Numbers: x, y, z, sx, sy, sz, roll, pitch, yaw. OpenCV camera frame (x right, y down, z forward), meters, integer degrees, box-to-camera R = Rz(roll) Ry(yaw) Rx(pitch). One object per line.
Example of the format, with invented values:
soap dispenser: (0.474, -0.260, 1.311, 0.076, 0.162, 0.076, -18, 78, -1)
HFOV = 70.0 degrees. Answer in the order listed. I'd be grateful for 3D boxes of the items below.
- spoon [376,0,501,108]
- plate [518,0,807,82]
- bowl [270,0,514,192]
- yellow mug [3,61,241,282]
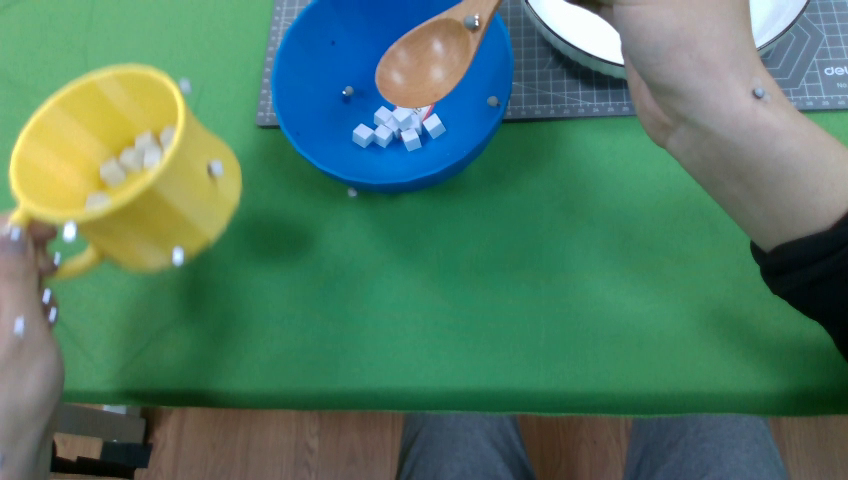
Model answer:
spoon: (0.051, -0.136, 0.293, 0.194, 0.022, 0.041, -41, 74, 15)
plate: (0.166, -0.198, 0.440, 0.209, 0.038, 0.207, -2, 69, 6)
bowl: (-0.016, -0.092, 0.403, 0.151, 0.077, 0.150, -2, 73, 7)
yellow mug: (-0.175, -0.029, 0.340, 0.099, 0.064, 0.130, 35, 77, 24)
